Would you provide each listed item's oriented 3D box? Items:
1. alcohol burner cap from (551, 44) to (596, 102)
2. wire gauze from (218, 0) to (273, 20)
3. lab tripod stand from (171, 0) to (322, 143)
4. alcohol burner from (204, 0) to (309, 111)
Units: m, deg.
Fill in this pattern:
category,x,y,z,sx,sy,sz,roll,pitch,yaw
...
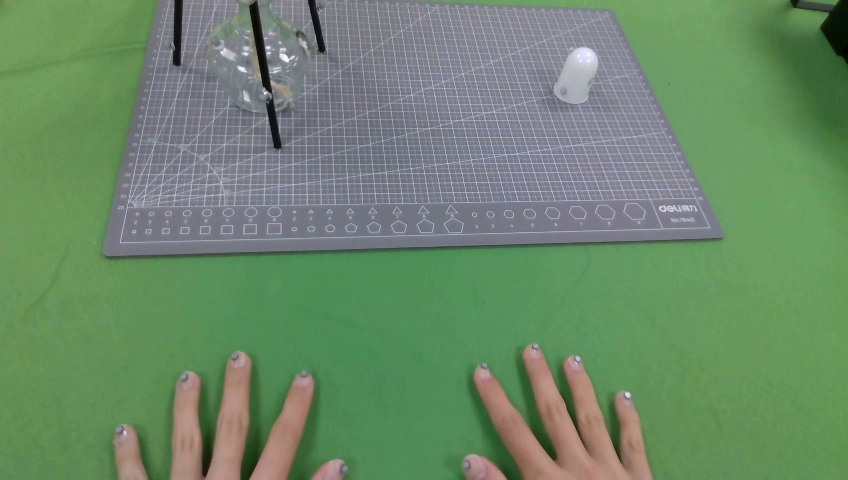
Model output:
category,x,y,z,sx,sy,sz,roll,pitch,yaw
alcohol burner cap,0.134,-0.149,0.535,0.034,0.048,0.033,4,53,-5
wire gauze,-0.123,-0.205,0.397,0.124,0.011,0.121,32,59,9
lab tripod stand,-0.128,-0.168,0.450,0.149,0.132,0.147,5,54,-7
alcohol burner,-0.126,-0.157,0.455,0.078,0.120,0.077,5,53,-7
